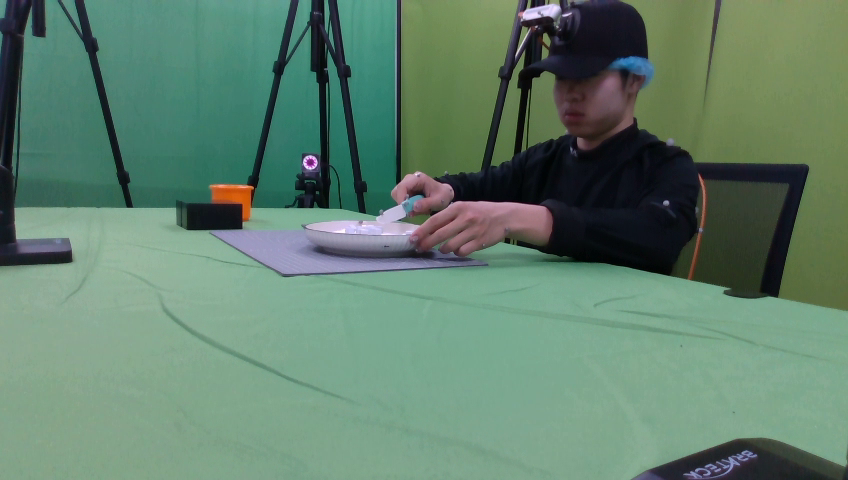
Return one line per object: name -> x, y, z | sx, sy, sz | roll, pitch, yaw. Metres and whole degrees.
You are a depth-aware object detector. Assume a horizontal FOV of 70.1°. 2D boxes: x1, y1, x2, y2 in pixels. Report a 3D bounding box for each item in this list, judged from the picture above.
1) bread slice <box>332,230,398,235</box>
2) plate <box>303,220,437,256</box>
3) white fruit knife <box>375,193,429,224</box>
bread slice -> -0.088, -0.001, 0.947 | 0.105, 0.019, 0.131 | -5, 11, -45
plate -> -0.084, -0.003, 0.951 | 0.209, 0.038, 0.209 | 3, 7, 0
white fruit knife -> -0.033, -0.052, 0.987 | 0.016, 0.027, 0.208 | -5, 11, 22
